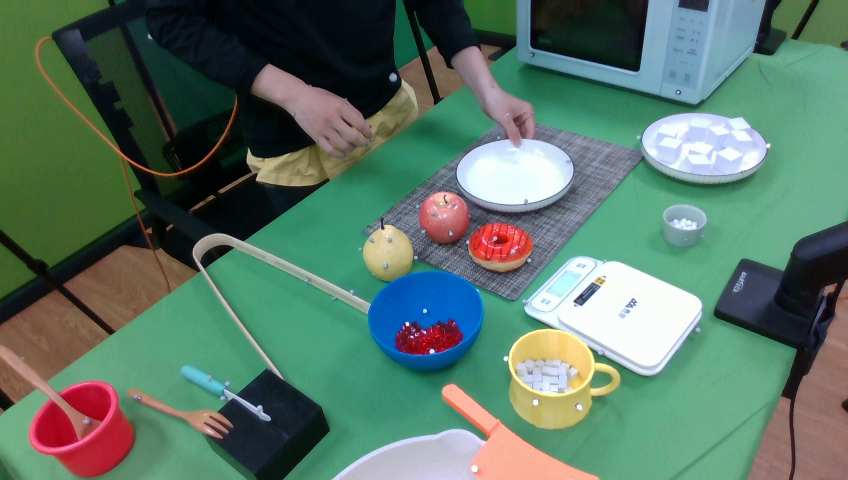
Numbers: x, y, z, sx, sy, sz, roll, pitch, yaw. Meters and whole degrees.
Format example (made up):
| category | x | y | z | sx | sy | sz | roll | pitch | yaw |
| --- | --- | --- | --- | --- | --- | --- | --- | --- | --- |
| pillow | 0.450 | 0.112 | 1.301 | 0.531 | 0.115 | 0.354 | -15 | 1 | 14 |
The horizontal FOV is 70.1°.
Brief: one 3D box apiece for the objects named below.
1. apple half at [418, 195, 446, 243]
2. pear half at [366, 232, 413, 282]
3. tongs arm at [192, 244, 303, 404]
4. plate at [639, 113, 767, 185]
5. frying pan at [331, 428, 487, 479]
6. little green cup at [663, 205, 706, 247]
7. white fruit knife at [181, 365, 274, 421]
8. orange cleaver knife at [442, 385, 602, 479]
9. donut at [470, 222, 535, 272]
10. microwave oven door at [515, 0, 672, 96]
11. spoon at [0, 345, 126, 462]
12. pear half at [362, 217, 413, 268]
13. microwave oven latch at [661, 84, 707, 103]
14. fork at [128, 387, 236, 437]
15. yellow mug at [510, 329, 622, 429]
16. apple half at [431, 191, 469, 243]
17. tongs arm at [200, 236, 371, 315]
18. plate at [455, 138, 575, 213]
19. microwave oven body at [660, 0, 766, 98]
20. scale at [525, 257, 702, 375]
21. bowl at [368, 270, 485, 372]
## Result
| category | x | y | z | sx | sy | sz | roll | pitch | yaw |
| --- | --- | --- | --- | --- | --- | --- | --- | --- | --- |
| apple half | 0.009 | -0.028 | 0.959 | 0.033 | 0.081 | 0.080 | -14 | 41 | -11 |
| pear half | -0.048 | 0.031 | 0.893 | 0.071 | 0.088 | 0.031 | -16 | 40 | -13 |
| tongs arm | -0.268 | 0.110 | 0.883 | 0.028 | 0.028 | 0.384 | -36 | 47 | -18 |
| plate | 0.489 | -0.157 | 1.074 | 0.207 | 0.039 | 0.206 | -4 | 40 | 4 |
| frying pan | -0.089 | 0.306 | 0.564 | 0.487 | 0.103 | 0.306 | 10 | 41 | 7 |
| little green cup | 0.396 | -0.020 | 0.926 | 0.061 | 0.039 | 0.061 | -4 | 40 | 4 |
| white fruit knife | -0.245 | 0.188 | 0.747 | 0.205 | 0.027 | 0.016 | 9 | 41 | 41 |
| orange cleaver knife | 0.086 | 0.219 | 0.612 | 0.209 | 0.012 | 0.077 | 28 | 48 | 35 |
| donut | 0.119 | 0.009 | 0.923 | 0.099 | 0.048 | 0.098 | -4 | 38 | 3 |
| microwave oven door | 0.343 | -0.454 | 1.259 | 0.353 | 0.245 | 0.039 | 26 | 51 | 33 |
| spoon | -0.434 | 0.192 | 0.720 | 0.194 | 0.021 | 0.042 | 47 | 53 | -7 |
| pear half | -0.059 | 0.002 | 0.913 | 0.076 | 0.110 | 0.055 | -14 | 40 | -13 |
| microwave oven latch | 0.517 | -0.296 | 1.204 | 0.078 | 0.029 | 0.030 | 27 | 52 | 35 |
| fork | -0.305 | 0.207 | 0.744 | 0.206 | 0.019 | 0.028 | 3 | 41 | 36 |
| yellow mug | 0.168 | 0.164 | 0.721 | 0.130 | 0.064 | 0.099 | 0 | 40 | 8 |
| apple half | 0.045 | -0.038 | 0.967 | 0.053 | 0.075 | 0.080 | -14 | 37 | -11 |
| tongs arm | -0.209 | 0.062 | 0.924 | 0.381 | 0.026 | 0.051 | 23 | 53 | 32 |
| plate | 0.159 | -0.111 | 1.063 | 0.209 | 0.038 | 0.208 | -4 | 40 | 4 |
| microwave oven body | 0.472 | -0.513 | 1.317 | 0.438 | 0.261 | 0.327 | 26 | 51 | 34 |
| scale | 0.254 | 0.091 | 0.821 | 0.199 | 0.032 | 0.149 | 28 | 51 | 35 |
| bowl | 0.007 | 0.118 | 0.791 | 0.151 | 0.077 | 0.150 | -5 | 40 | 4 |
